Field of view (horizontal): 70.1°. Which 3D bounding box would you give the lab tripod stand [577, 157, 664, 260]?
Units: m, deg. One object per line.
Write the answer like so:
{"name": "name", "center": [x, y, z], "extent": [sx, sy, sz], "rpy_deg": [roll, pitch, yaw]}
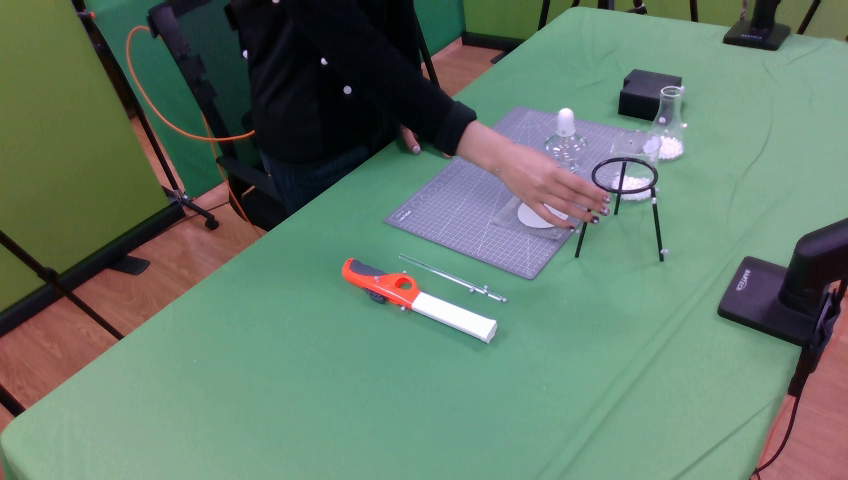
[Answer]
{"name": "lab tripod stand", "center": [0.292, -0.047, 0.897], "extent": [0.148, 0.132, 0.147], "rpy_deg": [-7, 38, 6]}

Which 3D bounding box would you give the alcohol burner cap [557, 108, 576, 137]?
{"name": "alcohol burner cap", "center": [0.246, -0.205, 1.047], "extent": [0.034, 0.048, 0.033], "rpy_deg": [-8, 44, 8]}

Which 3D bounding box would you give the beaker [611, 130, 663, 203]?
{"name": "beaker", "center": [0.346, -0.118, 0.998], "extent": [0.084, 0.101, 0.073], "rpy_deg": [-17, 40, -7]}

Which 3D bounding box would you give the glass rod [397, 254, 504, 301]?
{"name": "glass rod", "center": [0.036, 0.054, 0.923], "extent": [0.198, 0.008, 0.008], "rpy_deg": [22, 50, 31]}

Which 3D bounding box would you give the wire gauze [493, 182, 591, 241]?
{"name": "wire gauze", "center": [0.198, -0.048, 1.011], "extent": [0.120, 0.011, 0.125], "rpy_deg": [20, 50, 31]}

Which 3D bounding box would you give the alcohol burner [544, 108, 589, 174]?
{"name": "alcohol burner", "center": [0.252, -0.178, 1.071], "extent": [0.078, 0.120, 0.077], "rpy_deg": [-7, 39, 6]}

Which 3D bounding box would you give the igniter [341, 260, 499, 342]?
{"name": "igniter", "center": [-0.017, 0.084, 0.883], "extent": [0.274, 0.025, 0.057], "rpy_deg": [19, 58, 31]}

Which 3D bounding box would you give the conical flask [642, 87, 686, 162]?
{"name": "conical flask", "center": [0.429, -0.206, 1.067], "extent": [0.075, 0.122, 0.075], "rpy_deg": [-6, 40, 5]}
